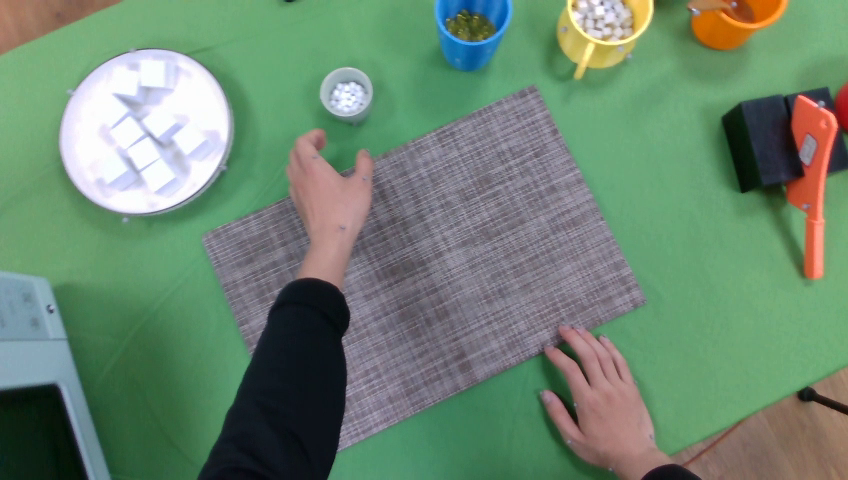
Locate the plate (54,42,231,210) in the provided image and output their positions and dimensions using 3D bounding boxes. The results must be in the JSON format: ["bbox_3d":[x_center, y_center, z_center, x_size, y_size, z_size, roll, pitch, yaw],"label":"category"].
[{"bbox_3d":[-0.335,-0.136,0.736,0.208,0.039,0.207,0,83,1],"label":"plate"}]

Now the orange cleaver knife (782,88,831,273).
[{"bbox_3d":[0.433,-0.066,0.694,0.012,0.076,0.213,-10,112,2],"label":"orange cleaver knife"}]

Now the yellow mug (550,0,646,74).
[{"bbox_3d":[0.201,-0.261,0.730,0.100,0.064,0.130,23,85,4],"label":"yellow mug"}]

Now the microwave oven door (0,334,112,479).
[{"bbox_3d":[-0.368,0.260,0.565,0.039,0.244,0.354,-23,83,-2],"label":"microwave oven door"}]

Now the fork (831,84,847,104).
[{"bbox_3d":[0.578,-0.179,0.674,0.206,0.019,0.028,-3,78,43],"label":"fork"}]

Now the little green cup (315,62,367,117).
[{"bbox_3d":[-0.099,-0.180,0.738,0.061,0.039,0.061,0,82,1],"label":"little green cup"}]

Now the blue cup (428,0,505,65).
[{"bbox_3d":[0.046,-0.254,0.714,0.092,0.100,0.092,0,83,0],"label":"blue cup"}]

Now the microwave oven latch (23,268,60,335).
[{"bbox_3d":[-0.447,0.072,0.693,0.030,0.029,0.079,-21,84,-2],"label":"microwave oven latch"}]

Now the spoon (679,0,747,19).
[{"bbox_3d":[0.330,-0.272,0.689,0.021,0.194,0.041,-35,79,41],"label":"spoon"}]

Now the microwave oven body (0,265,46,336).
[{"bbox_3d":[-0.519,0.276,0.571,0.326,0.261,0.440,-22,83,-3],"label":"microwave oven body"}]
